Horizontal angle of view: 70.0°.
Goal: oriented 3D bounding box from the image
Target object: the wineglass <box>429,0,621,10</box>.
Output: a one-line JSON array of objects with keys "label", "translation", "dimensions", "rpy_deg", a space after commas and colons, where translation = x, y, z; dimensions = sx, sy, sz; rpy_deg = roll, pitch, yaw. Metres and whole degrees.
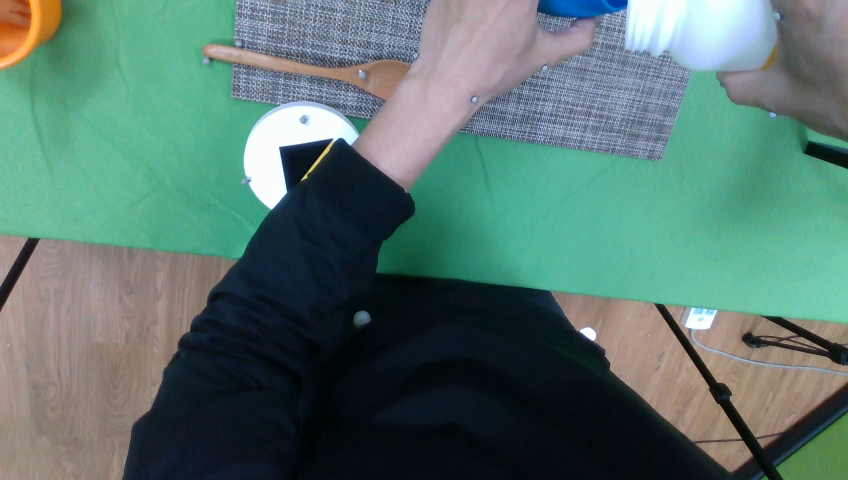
[{"label": "wineglass", "translation": [0.072, -0.211, 0.457], "dimensions": [0.074, 0.170, 0.074], "rpy_deg": [-17, 117, -37]}]

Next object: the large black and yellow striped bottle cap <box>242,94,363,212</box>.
[{"label": "large black and yellow striped bottle cap", "translation": [-0.115, -0.081, 0.581], "dimensions": [0.115, 0.018, 0.116], "rpy_deg": [-6, 120, -10]}]

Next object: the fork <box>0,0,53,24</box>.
[{"label": "fork", "translation": [-0.359, -0.180, 0.403], "dimensions": [0.208, 0.018, 0.028], "rpy_deg": [-7, 133, -59]}]

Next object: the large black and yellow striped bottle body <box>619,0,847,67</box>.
[{"label": "large black and yellow striped bottle body", "translation": [0.210, -0.167, 0.342], "dimensions": [0.183, 0.130, 0.131], "rpy_deg": [5, 116, 14]}]

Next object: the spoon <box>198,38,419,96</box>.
[{"label": "spoon", "translation": [-0.100, -0.159, 0.540], "dimensions": [0.194, 0.021, 0.042], "rpy_deg": [4, 135, -15]}]
